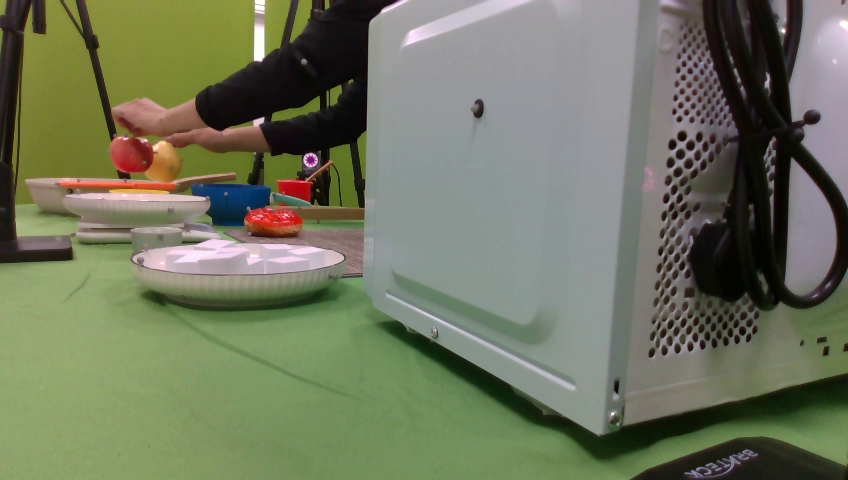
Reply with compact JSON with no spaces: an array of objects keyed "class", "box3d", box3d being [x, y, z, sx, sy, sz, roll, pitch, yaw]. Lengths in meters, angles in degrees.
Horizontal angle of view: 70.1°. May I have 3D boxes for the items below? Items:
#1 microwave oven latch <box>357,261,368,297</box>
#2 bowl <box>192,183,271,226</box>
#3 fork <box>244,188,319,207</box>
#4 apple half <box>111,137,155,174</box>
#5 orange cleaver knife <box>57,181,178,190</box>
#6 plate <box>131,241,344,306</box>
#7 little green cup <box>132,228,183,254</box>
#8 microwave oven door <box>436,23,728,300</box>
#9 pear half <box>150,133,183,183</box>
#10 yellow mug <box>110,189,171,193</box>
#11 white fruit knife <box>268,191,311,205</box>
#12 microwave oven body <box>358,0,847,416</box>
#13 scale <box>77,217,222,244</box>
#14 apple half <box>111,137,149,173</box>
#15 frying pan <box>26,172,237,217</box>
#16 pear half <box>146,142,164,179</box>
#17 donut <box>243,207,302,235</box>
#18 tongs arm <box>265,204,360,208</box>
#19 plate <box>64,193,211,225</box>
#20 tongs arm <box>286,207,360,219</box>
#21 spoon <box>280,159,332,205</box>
[{"class":"microwave oven latch","box3d":[-0.019,0.033,0.531,0.079,0.029,0.030,-1,7,-27]},{"class":"bowl","box3d":[-0.382,-0.070,1.202,0.151,0.077,0.151,3,7,0]},{"class":"fork","box3d":[-0.356,-0.105,1.526,0.208,0.018,0.028,16,-5,-41]},{"class":"apple half","box3d":[-0.584,-0.171,1.227,0.053,0.074,0.081,14,7,38]},{"class":"orange cleaver knife","box3d":[-0.600,-0.109,1.189,0.212,0.012,0.077,-1,11,-26]},{"class":"plate","box3d":[-0.187,0.033,0.625,0.208,0.039,0.207,2,8,0]},{"class":"little green cup","box3d":[-0.342,0.006,0.779,0.061,0.038,0.061,2,8,0]},{"class":"microwave oven door","box3d":[0.180,-0.073,0.621,0.358,0.243,0.039,-2,9,-29]},{"class":"pear half","box3d":[-0.561,-0.180,1.340,0.056,0.109,0.076,15,9,-12]},{"class":"yellow mug","box3d":[-0.519,-0.055,1.080,0.099,0.064,0.131,7,9,26]},{"class":"white fruit knife","box3d":[-0.364,-0.105,1.464,0.208,0.027,0.016,15,0,-34]},{"class":"microwave oven body","box3d":[0.211,-0.047,0.475,0.444,0.260,0.324,-1,7,-28]},{"class":"scale","box3d":[-0.434,-0.019,0.963,0.202,0.031,0.148,-1,9,-27]},{"class":"apple half","box3d":[-0.614,-0.177,1.250,0.032,0.081,0.082,14,13,38]},{"class":"frying pan","box3d":[-0.624,-0.118,1.387,0.305,0.102,0.490,8,17,32]},{"class":"pear half","box3d":[-0.598,-0.179,1.336,0.031,0.088,0.070,16,9,-13]},{"class":"donut","box3d":[-0.261,-0.032,1.043,0.099,0.048,0.099,4,9,0]},{"class":"tongs arm","box3d":[-0.209,-0.069,1.439,0.389,0.027,0.028,1,0,-16]},{"class":"plate","box3d":[-0.446,-0.051,0.952,0.209,0.038,0.209,2,7,0]},{"class":"tongs arm","box3d":[-0.173,-0.061,1.362,0.387,0.026,0.050,-1,4,-31]},{"class":"spoon","box3d":[-0.316,-0.158,1.640,0.194,0.022,0.041,-50,31,-20]}]
